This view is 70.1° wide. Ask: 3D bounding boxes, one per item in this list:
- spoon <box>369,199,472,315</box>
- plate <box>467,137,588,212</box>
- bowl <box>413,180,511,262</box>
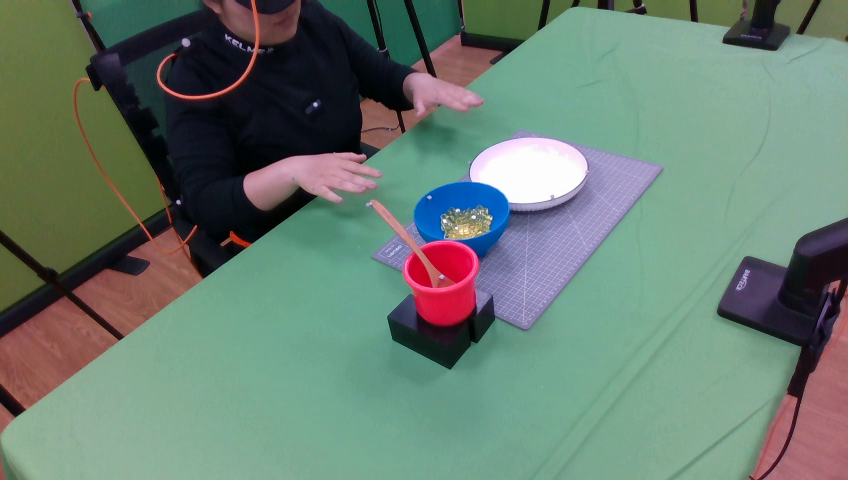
[{"bbox_3d":[-0.006,0.020,0.787,0.042,0.021,0.194,-39,92,-27],"label":"spoon"},{"bbox_3d":[0.181,-0.112,1.064,0.207,0.039,0.206,-5,40,5],"label":"plate"},{"bbox_3d":[0.062,-0.019,0.945,0.151,0.077,0.150,-5,40,5],"label":"bowl"}]
